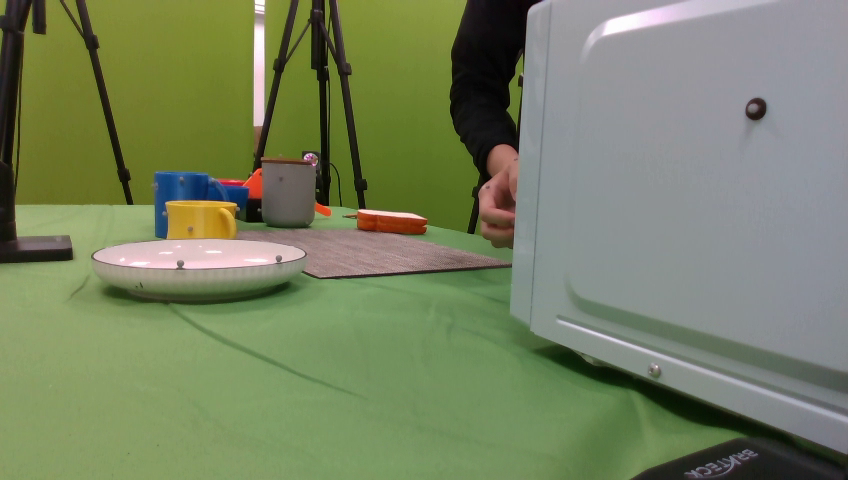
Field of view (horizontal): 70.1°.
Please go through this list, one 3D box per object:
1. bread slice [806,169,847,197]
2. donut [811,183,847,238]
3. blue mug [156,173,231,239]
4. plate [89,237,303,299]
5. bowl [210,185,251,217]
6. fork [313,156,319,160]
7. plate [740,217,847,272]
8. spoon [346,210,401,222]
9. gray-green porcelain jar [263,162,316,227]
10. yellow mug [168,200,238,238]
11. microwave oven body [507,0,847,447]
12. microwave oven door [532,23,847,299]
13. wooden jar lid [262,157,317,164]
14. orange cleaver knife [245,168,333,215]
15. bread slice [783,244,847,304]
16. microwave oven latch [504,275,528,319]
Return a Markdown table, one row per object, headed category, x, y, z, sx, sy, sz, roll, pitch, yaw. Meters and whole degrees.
| category | x | y | z | sx | sy | sz | roll | pitch | yaw |
| --- | --- | --- | --- | --- | --- | --- | --- | --- | --- |
| bread slice | 0.365 | -0.051 | 0.453 | 0.135 | 0.018 | 0.106 | -10 | 1 | -22 |
| donut | 0.353 | -0.026 | 0.463 | 0.099 | 0.048 | 0.099 | -10 | 3 | 1 |
| blue mug | -0.381 | -0.057 | 1.004 | 0.117 | 0.106 | 0.082 | 1 | 8 | -12 |
| plate | -0.233 | 0.029 | 0.636 | 0.208 | 0.039 | 0.207 | 2 | 7 | 0 |
| bowl | -0.408 | -0.064 | 1.155 | 0.151 | 0.077 | 0.151 | 2 | 8 | 0 |
| fork | -0.331 | -0.144 | 1.506 | 0.207 | 0.018 | 0.028 | -42 | -18 | 22 |
| plate | 0.359 | 0.002 | 0.464 | 0.209 | 0.038 | 0.209 | 0 | 4 | 0 |
| spoon | -0.120 | -0.060 | 1.400 | 0.042 | 0.021 | 0.192 | -27 | 24 | -38 |
| gray-green porcelain jar | -0.271 | -0.092 | 1.217 | 0.106 | 0.126 | 0.106 | 2 | 7 | 0 |
| yellow mug | -0.319 | -0.023 | 0.904 | 0.130 | 0.064 | 0.100 | 9 | 11 | 36 |
| microwave oven body | 0.331 | -0.042 | 0.425 | 0.444 | 0.260 | 0.324 | -2 | 8 | -31 |
| microwave oven door | 0.279 | -0.071 | 0.601 | 0.357 | 0.243 | 0.039 | -1 | 8 | -20 |
| wooden jar lid | -0.269 | -0.154 | 1.208 | 0.108 | 0.020 | 0.108 | 3 | 4 | 0 |
| orange cleaver knife | -0.300 | -0.089 | 1.352 | 0.212 | 0.077 | 0.012 | 28 | -9 | -34 |
| bread slice | 0.370 | 0.018 | 0.471 | 0.132 | 0.019 | 0.104 | -21 | 10 | -14 |
| microwave oven latch | 0.100 | 0.042 | 0.470 | 0.079 | 0.029 | 0.030 | -1 | 7 | -27 |
